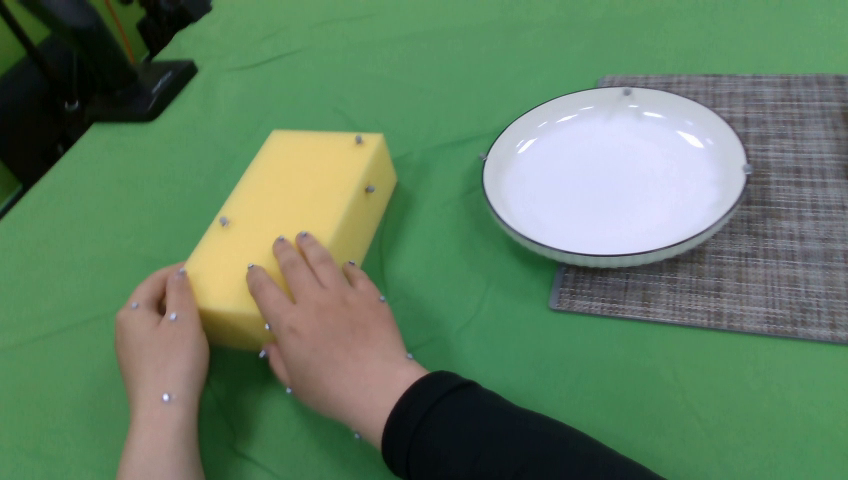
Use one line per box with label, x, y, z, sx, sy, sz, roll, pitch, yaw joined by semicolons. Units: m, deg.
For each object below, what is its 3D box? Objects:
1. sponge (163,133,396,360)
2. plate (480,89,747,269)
sponge;-0.114;-0.005;0.529;0.118;0.061;0.205;4;50;18
plate;0.153;-0.052;0.508;0.209;0.038;0.207;-8;46;9
